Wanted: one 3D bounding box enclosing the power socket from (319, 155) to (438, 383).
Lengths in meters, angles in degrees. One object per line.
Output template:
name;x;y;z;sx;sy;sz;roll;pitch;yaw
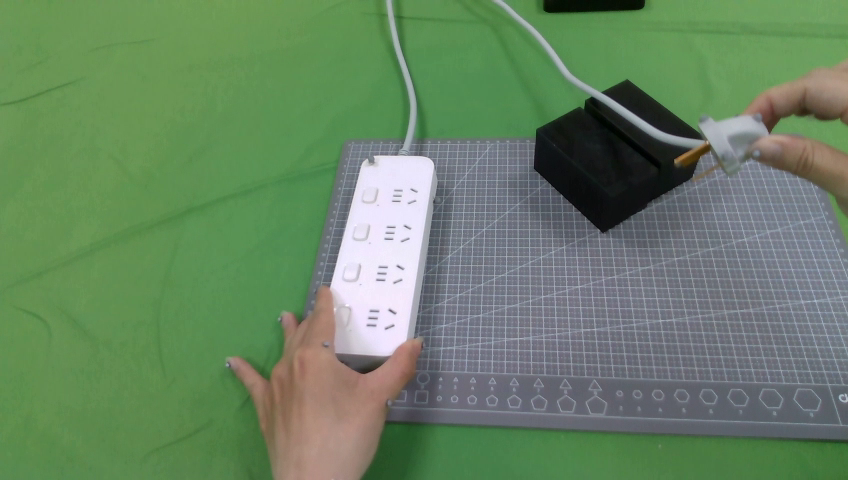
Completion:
power socket;-0.034;0.012;0.520;0.072;0.033;0.225;3;54;8

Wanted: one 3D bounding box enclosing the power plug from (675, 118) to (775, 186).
power plug;0.183;-0.044;0.362;0.052;0.073;0.035;-32;44;22
